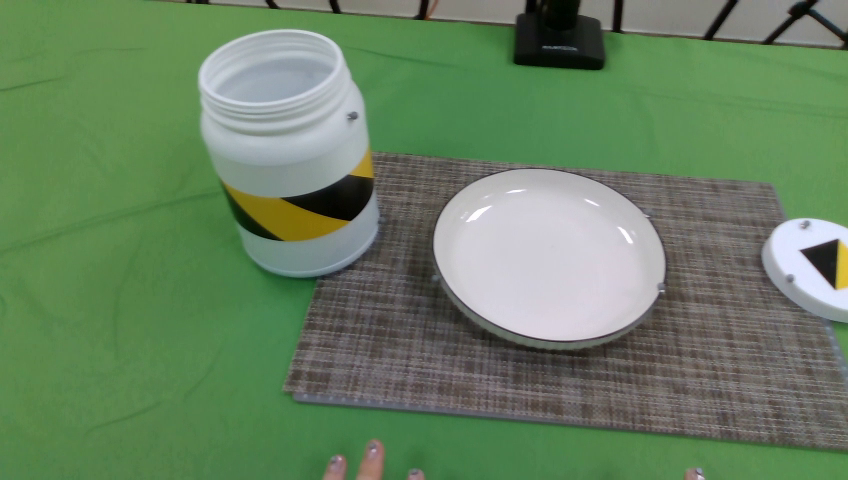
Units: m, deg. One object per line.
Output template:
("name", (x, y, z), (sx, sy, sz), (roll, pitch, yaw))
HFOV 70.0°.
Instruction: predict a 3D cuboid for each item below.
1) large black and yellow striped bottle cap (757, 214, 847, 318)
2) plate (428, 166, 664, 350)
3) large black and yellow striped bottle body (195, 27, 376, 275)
("large black and yellow striped bottle cap", (0.373, 0.021, 0.565), (0.115, 0.019, 0.114), (3, 49, -3))
("plate", (0.107, 0.014, 0.549), (0.208, 0.039, 0.205), (1, 48, -1))
("large black and yellow striped bottle body", (-0.115, -0.073, 0.525), (0.131, 0.186, 0.129), (-1, 48, 2))
